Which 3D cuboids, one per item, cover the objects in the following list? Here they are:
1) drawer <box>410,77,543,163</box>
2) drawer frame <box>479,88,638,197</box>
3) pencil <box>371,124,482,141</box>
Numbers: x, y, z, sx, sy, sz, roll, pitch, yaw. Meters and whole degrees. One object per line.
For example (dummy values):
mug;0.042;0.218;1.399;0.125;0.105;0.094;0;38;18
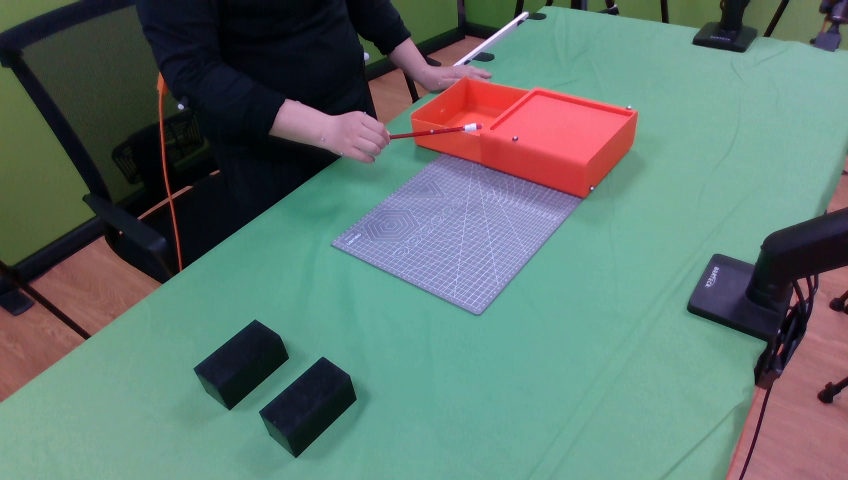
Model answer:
drawer;0.113;-0.235;1.186;0.210;0.073;0.195;21;46;32
drawer frame;0.243;-0.184;1.100;0.212;0.083;0.202;23;48;30
pencil;0.004;-0.183;1.040;0.194;0.012;0.012;-6;40;7
